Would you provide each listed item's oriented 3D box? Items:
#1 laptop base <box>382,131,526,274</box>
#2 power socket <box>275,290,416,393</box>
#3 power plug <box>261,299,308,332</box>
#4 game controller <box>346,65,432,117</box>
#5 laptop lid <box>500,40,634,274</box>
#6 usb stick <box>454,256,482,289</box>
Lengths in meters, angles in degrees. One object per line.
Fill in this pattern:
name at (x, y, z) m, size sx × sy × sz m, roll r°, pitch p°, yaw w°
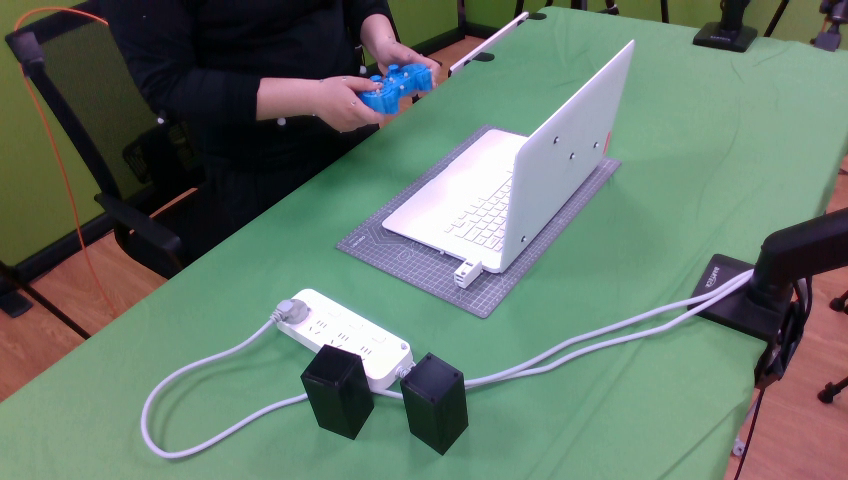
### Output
laptop base at (0.123, -0.081, 1.049) m, size 0.233 × 0.023 × 0.355 m, roll 20°, pitch 47°, yaw 33°
power socket at (-0.114, 0.133, 0.821) m, size 0.225 × 0.033 × 0.072 m, roll 24°, pitch 48°, yaw 32°
power plug at (-0.193, 0.109, 0.830) m, size 0.073 × 0.053 × 0.035 m, roll -35°, pitch 47°, yaw -24°
game controller at (-0.056, -0.257, 1.026) m, size 0.096 × 0.052 × 0.155 m, roll 17°, pitch 45°, yaw 35°
laptop lid at (0.218, -0.128, 0.906) m, size 0.013 × 0.242 × 0.358 m, roll 28°, pitch 50°, yaw 25°
usb stick at (0.069, 0.044, 0.891) m, size 0.021 × 0.027 × 0.059 m, roll 22°, pitch 44°, yaw 32°
